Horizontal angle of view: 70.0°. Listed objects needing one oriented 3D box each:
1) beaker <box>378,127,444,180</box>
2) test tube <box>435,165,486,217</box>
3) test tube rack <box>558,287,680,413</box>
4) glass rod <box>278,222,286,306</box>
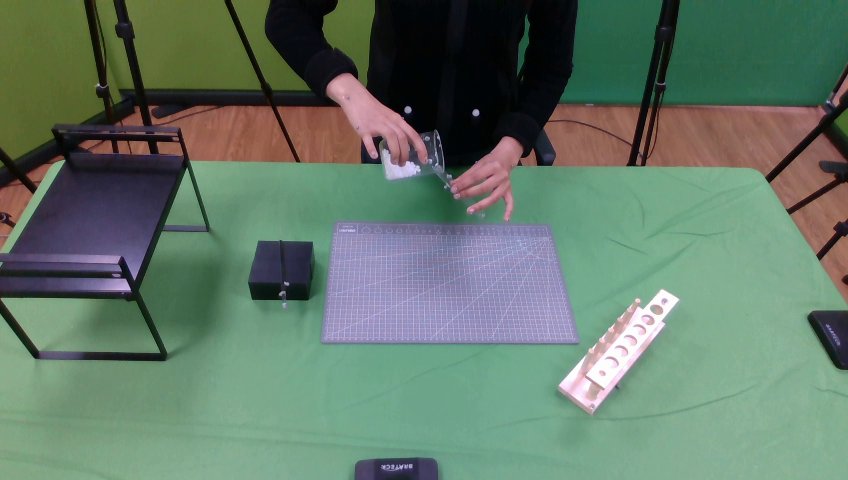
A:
[{"bbox_3d":[-0.023,-0.141,1.013,0.100,0.084,0.073,-10,48,-5],"label":"beaker"},{"bbox_3d":[0.068,-0.086,1.092,0.017,0.151,0.017,-25,45,27],"label":"test tube"},{"bbox_3d":[0.327,0.170,1.009,0.066,0.085,0.242,36,54,26],"label":"test tube rack"},{"bbox_3d":[-0.255,0.039,1.081,0.008,0.008,0.198,-6,47,-10],"label":"glass rod"}]
